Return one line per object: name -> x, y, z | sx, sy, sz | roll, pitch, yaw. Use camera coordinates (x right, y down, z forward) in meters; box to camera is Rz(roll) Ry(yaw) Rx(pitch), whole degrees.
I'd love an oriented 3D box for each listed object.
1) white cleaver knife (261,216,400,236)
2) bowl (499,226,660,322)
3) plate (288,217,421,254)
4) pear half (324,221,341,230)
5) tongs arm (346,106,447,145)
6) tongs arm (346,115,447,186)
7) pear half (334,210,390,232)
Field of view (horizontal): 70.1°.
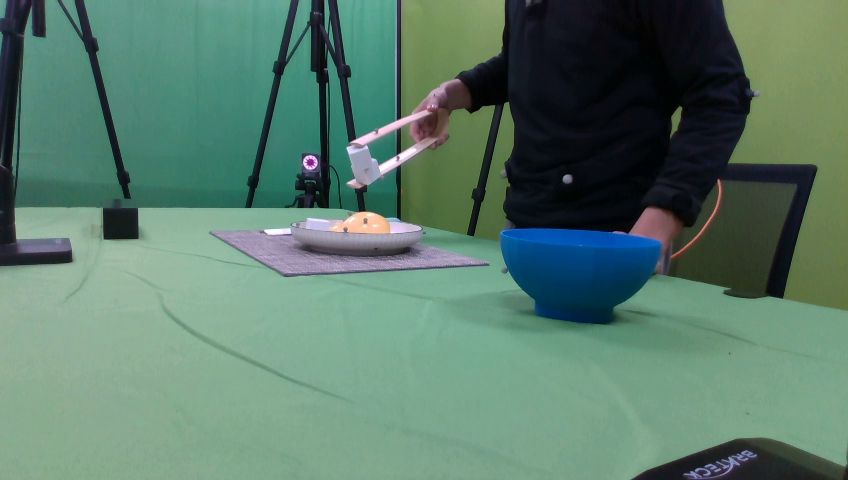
white cleaver knife -> -0.169, -0.021, 1.156 | 0.288, 0.021, 0.065 | -7, 20, -33
bowl -> 0.145, 0.032, 0.583 | 0.151, 0.077, 0.151 | 2, 7, 0
plate -> -0.109, -0.007, 0.956 | 0.208, 0.039, 0.207 | 2, 7, 0
pear half -> -0.126, -0.018, 1.001 | 0.088, 0.031, 0.070 | 8, 3, 1
tongs arm -> -0.036, -0.210, 1.098 | 0.027, 0.028, 0.388 | 9, 22, 21
tongs arm -> -0.038, -0.174, 1.115 | 0.026, 0.051, 0.386 | 12, 24, 20
pear half -> -0.107, -0.017, 0.920 | 0.110, 0.056, 0.076 | -5, 5, -20
